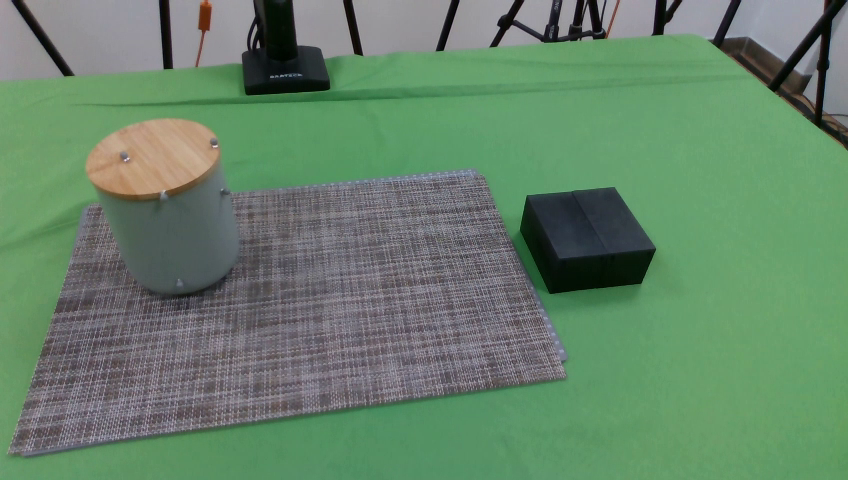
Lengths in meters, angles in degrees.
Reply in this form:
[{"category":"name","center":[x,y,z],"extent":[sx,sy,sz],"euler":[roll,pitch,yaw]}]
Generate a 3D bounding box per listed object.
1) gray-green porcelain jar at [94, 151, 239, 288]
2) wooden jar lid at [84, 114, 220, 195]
[{"category":"gray-green porcelain jar","center":[-0.234,-0.026,0.565],"extent":[0.106,0.127,0.105],"euler":[2,43,-1]},{"category":"wooden jar lid","center":[-0.231,-0.071,0.522],"extent":[0.108,0.021,0.107],"euler":[3,46,-3]}]
